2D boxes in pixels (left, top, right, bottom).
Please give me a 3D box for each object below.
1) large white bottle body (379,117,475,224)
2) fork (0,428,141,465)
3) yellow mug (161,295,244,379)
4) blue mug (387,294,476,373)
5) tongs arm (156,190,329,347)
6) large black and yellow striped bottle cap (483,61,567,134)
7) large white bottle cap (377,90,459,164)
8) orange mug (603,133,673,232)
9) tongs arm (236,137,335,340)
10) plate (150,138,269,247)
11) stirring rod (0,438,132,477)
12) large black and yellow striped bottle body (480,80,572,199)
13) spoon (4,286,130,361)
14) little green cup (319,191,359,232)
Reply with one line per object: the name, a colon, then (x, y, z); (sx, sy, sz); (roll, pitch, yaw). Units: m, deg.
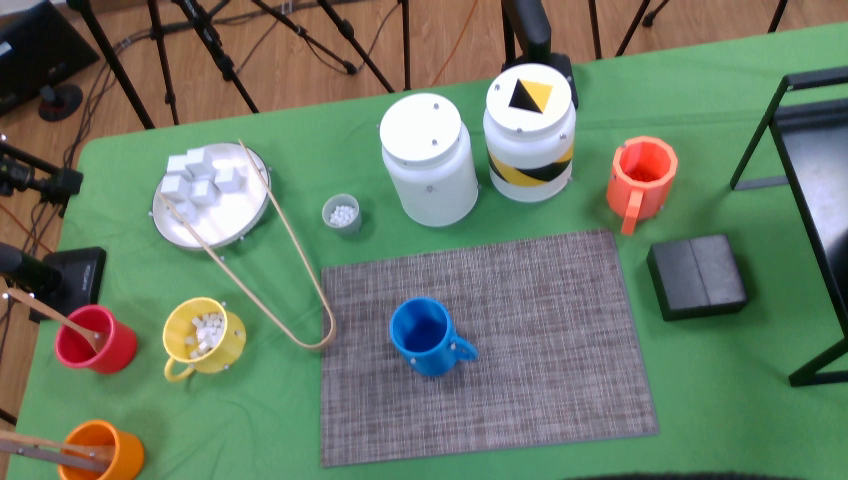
large white bottle body: (0.006, -0.121, 0.910); (0.130, 0.186, 0.129); (-4, 64, 8)
fork: (-0.497, 0.279, 0.828); (0.209, 0.018, 0.028); (23, 62, -28)
yellow mug: (-0.341, 0.152, 0.909); (0.099, 0.064, 0.130); (29, 74, 21)
blue mug: (0.015, 0.135, 0.827); (0.116, 0.107, 0.082); (16, 68, 17)
tongs arm: (-0.291, 0.035, 0.949); (0.051, 0.027, 0.382); (-41, 72, -14)
large black and yellow striped bottle cap: (0.138, -0.196, 0.828); (0.115, 0.019, 0.114); (-3, 64, 7)
large white bottle cap: (-0.009, -0.157, 0.834); (0.114, 0.018, 0.114); (-4, 64, 9)
orange mug: (0.308, -0.080, 0.886); (0.083, 0.102, 0.125); (14, 64, 17)
tongs arm: (-0.225, -0.014, 0.964); (0.028, 0.028, 0.384); (-26, 70, -12)
plate: (-0.361, -0.079, 1.038); (0.207, 0.039, 0.206); (-4, 65, 8)
stirring rod: (-0.487, 0.296, 0.822); (0.006, 0.177, 0.014); (-39, 36, 39)
large black and yellow striped bottle body: (0.153, -0.158, 0.902); (0.130, 0.185, 0.129); (-4, 64, 9)
spoon: (-0.536, 0.123, 0.913); (0.195, 0.021, 0.041); (39, 70, -22)
little green cup: (-0.135, -0.043, 0.981); (0.061, 0.039, 0.061); (-4, 65, 8)
